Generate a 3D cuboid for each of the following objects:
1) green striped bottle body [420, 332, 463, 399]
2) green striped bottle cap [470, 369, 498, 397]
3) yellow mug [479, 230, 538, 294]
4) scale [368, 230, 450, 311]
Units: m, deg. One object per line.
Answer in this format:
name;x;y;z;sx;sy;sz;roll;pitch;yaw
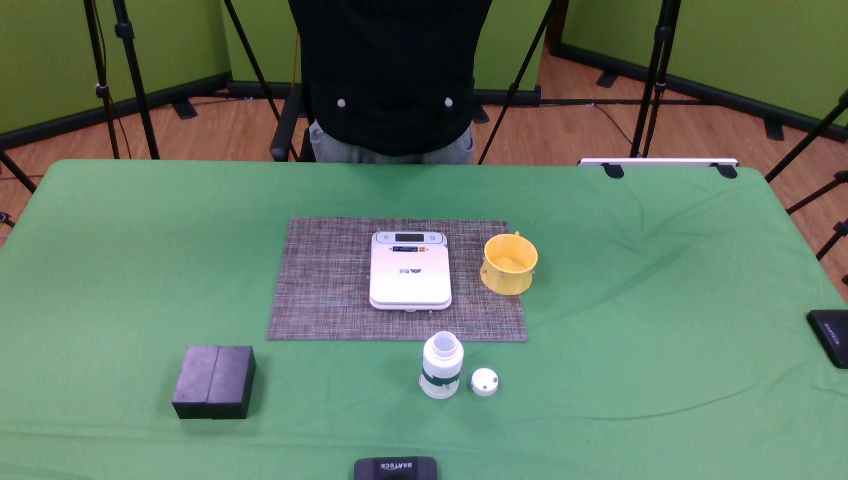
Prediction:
green striped bottle body;0.027;0.193;0.948;0.063;0.120;0.063;2;47;-2
green striped bottle cap;0.098;0.233;0.989;0.044;0.020;0.044;2;39;-1
yellow mug;0.161;0.033;1.143;0.100;0.064;0.130;15;46;9
scale;-0.029;0.048;1.137;0.149;0.032;0.199;1;46;-4
